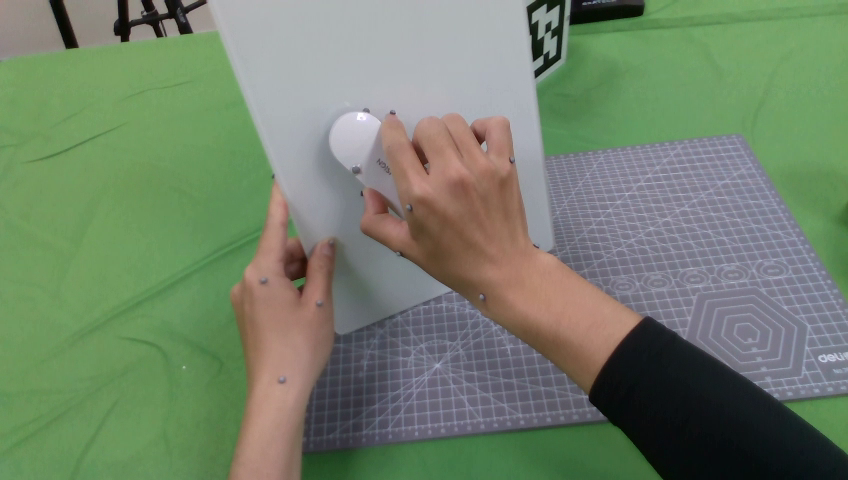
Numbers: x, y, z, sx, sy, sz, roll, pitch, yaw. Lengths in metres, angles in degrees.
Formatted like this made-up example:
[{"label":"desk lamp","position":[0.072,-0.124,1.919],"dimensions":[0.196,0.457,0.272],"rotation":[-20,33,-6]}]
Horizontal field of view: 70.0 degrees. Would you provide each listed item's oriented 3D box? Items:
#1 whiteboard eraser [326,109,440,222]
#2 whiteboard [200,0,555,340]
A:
[{"label":"whiteboard eraser","position":[-0.029,-0.054,0.445],"dimensions":[0.041,0.102,0.018],"rotation":[-48,22,-3]},{"label":"whiteboard","position":[-0.034,-0.109,0.519],"dimensions":[0.217,0.308,0.142],"rotation":[-22,31,-11]}]
